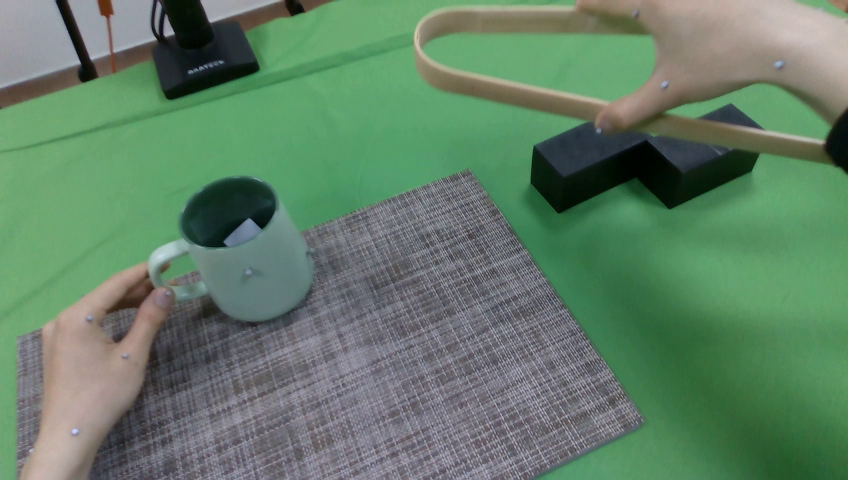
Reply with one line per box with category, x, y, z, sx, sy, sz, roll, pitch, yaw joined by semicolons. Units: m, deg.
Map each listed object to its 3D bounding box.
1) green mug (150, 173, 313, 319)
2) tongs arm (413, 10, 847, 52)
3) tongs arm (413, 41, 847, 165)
green mug;-0.163;0.013;0.512;0.125;0.106;0.091;-23;54;-11
tongs arm;0.185;-0.158;0.483;0.385;0.027;0.050;4;67;2
tongs arm;0.175;-0.096;0.454;0.387;0.028;0.028;13;70;7
